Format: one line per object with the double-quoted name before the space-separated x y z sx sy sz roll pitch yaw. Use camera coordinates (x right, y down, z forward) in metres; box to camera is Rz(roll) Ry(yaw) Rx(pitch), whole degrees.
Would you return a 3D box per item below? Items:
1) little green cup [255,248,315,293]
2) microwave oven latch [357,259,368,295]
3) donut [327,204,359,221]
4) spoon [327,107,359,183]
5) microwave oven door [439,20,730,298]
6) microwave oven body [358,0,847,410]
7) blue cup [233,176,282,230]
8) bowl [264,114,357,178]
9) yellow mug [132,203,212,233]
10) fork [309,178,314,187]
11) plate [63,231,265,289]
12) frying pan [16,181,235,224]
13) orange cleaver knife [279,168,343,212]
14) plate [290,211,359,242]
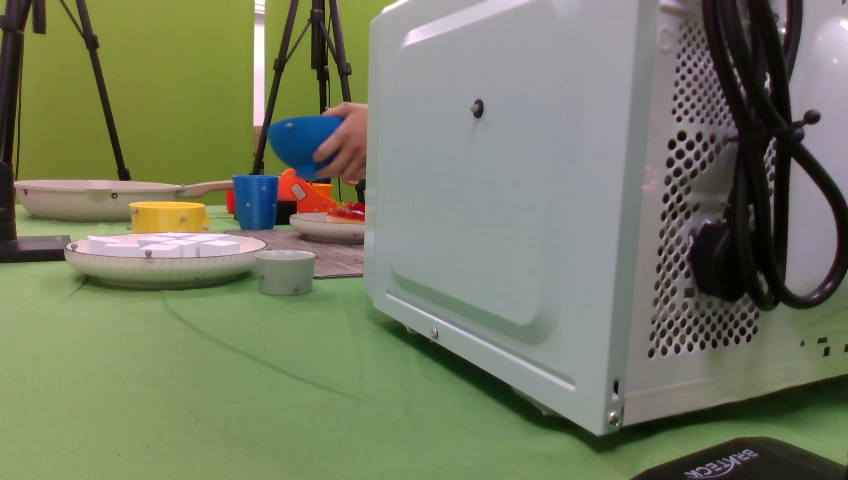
"little green cup" -0.144 0.031 0.627 0.061 0.038 0.061 2 7 0
"microwave oven latch" -0.019 0.031 0.529 0.079 0.029 0.030 -1 7 -26
"donut" -0.120 -0.037 1.055 0.099 0.048 0.099 5 6 0
"spoon" -0.167 -0.194 1.222 0.042 0.193 0.021 1 -27 -36
"microwave oven door" 0.181 -0.076 0.618 0.358 0.243 0.039 -2 8 -28
"microwave oven body" 0.210 -0.051 0.471 0.444 0.260 0.324 -1 7 -28
"blue cup" -0.314 -0.071 1.141 0.093 0.100 0.092 0 6 0
"bowl" -0.181 -0.146 0.986 0.151 0.076 0.151 -6 -4 0
"yellow mug" -0.356 -0.020 0.878 0.099 0.064 0.131 4 7 22
"fork" -0.268 -0.134 1.446 0.028 0.018 0.207 1 -36 -2
"plate" -0.288 0.021 0.687 0.208 0.039 0.207 2 8 0
"frying pan" -0.554 -0.097 1.266 0.490 0.102 0.305 -10 13 -24
"orange cleaver knife" -0.236 -0.084 1.333 0.212 0.077 0.012 31 -9 -32
"plate" -0.127 -0.025 1.051 0.209 0.038 0.209 2 7 0
